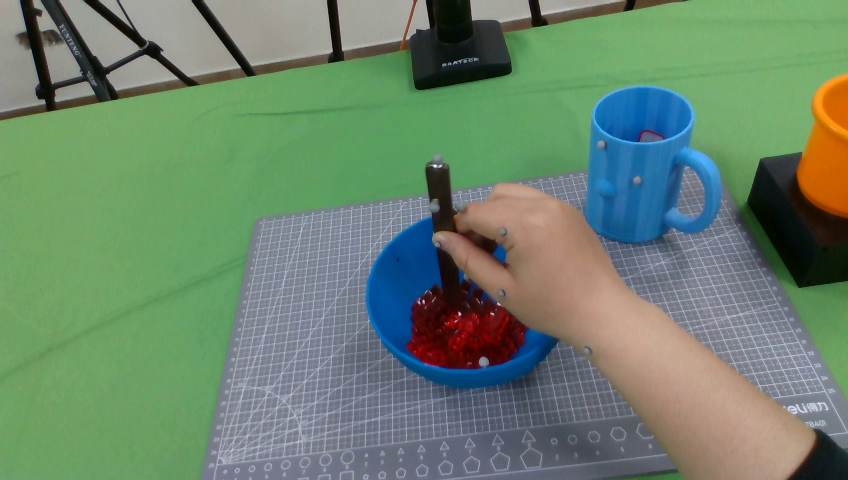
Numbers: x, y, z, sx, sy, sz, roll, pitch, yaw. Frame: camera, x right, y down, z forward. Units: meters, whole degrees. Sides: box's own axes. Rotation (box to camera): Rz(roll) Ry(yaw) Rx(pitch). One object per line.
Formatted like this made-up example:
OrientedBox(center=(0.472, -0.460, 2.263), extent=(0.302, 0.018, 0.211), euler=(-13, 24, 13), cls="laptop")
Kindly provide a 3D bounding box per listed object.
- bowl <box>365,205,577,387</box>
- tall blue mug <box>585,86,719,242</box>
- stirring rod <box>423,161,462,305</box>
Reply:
OrientedBox(center=(0.037, 0.053, 0.453), extent=(0.151, 0.077, 0.150), euler=(-6, 47, 6), cls="bowl")
OrientedBox(center=(0.190, -0.058, 0.503), extent=(0.106, 0.109, 0.077), euler=(13, 51, 22), cls="tall blue mug")
OrientedBox(center=(0.014, 0.004, 0.398), extent=(0.014, 0.178, 0.005), euler=(2, 60, 8), cls="stirring rod")
